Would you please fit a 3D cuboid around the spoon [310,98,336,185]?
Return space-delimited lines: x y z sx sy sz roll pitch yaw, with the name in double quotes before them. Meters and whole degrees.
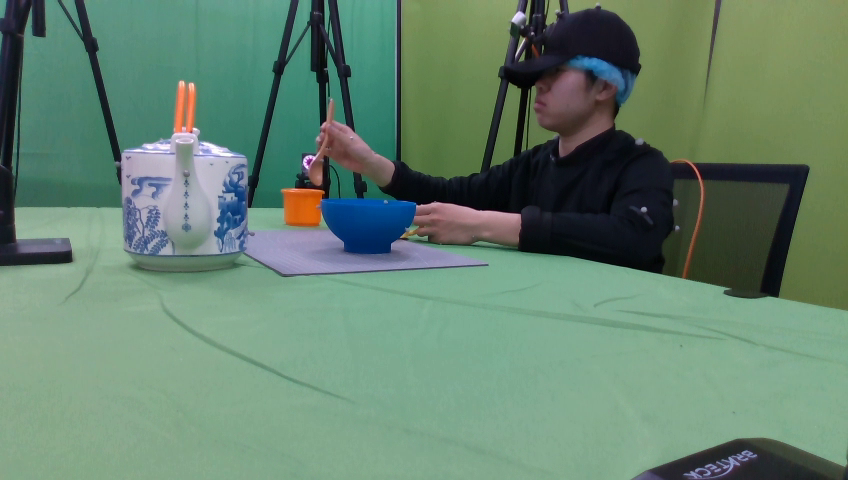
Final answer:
"spoon" -0.204 -0.206 1.256 0.021 0.193 0.042 4 -15 33

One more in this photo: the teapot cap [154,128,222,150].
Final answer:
"teapot cap" -0.294 -0.117 0.754 0.085 0.044 0.085 4 9 0

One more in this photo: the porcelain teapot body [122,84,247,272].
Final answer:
"porcelain teapot body" -0.286 -0.075 0.733 0.146 0.225 0.204 0 8 -24

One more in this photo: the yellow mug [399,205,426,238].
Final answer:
"yellow mug" -0.062 -0.040 1.130 0.131 0.064 0.100 1 7 -2

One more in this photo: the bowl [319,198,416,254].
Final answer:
"bowl" -0.089 -0.022 0.941 0.151 0.077 0.151 2 7 0
